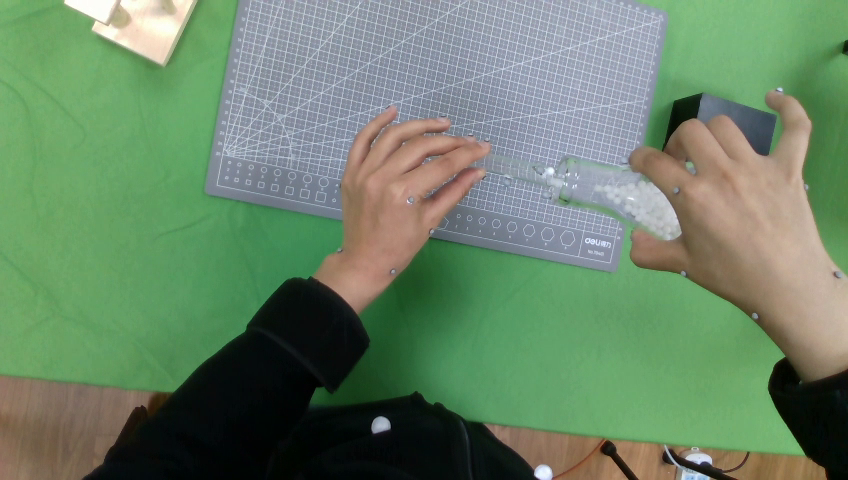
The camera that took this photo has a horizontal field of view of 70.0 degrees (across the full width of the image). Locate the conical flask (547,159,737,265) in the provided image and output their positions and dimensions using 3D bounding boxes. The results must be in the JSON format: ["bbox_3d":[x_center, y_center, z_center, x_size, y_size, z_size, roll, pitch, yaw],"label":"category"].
[{"bbox_3d":[0.155,-0.029,0.443,0.122,0.075,0.075,12,90,-3],"label":"conical flask"}]

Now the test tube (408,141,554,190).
[{"bbox_3d":[0.041,-0.063,0.500,0.017,0.149,0.017,-21,120,-41],"label":"test tube"}]

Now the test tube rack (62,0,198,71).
[{"bbox_3d":[-0.215,-0.279,0.526,0.067,0.085,0.242,25,87,-14],"label":"test tube rack"}]
